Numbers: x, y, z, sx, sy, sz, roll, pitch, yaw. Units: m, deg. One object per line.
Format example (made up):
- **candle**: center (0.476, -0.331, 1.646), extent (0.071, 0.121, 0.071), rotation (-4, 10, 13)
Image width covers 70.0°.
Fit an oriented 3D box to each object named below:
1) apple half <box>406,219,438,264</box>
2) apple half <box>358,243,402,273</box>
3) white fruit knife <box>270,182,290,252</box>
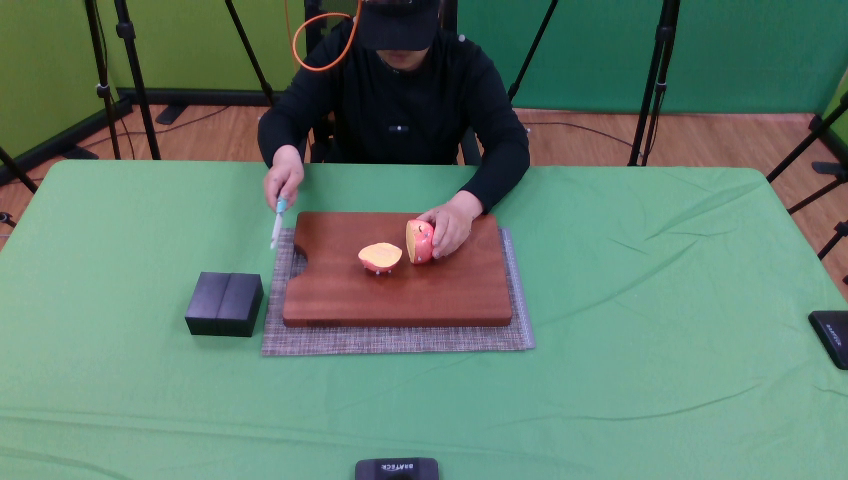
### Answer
- **apple half**: center (-0.002, 0.003, 1.121), extent (0.053, 0.075, 0.080), rotation (-4, 43, -14)
- **apple half**: center (-0.078, 0.038, 1.110), extent (0.081, 0.033, 0.081), rotation (1, 30, 0)
- **white fruit knife**: center (-0.258, -0.045, 1.077), extent (0.016, 0.027, 0.206), rotation (-8, 37, 1)
